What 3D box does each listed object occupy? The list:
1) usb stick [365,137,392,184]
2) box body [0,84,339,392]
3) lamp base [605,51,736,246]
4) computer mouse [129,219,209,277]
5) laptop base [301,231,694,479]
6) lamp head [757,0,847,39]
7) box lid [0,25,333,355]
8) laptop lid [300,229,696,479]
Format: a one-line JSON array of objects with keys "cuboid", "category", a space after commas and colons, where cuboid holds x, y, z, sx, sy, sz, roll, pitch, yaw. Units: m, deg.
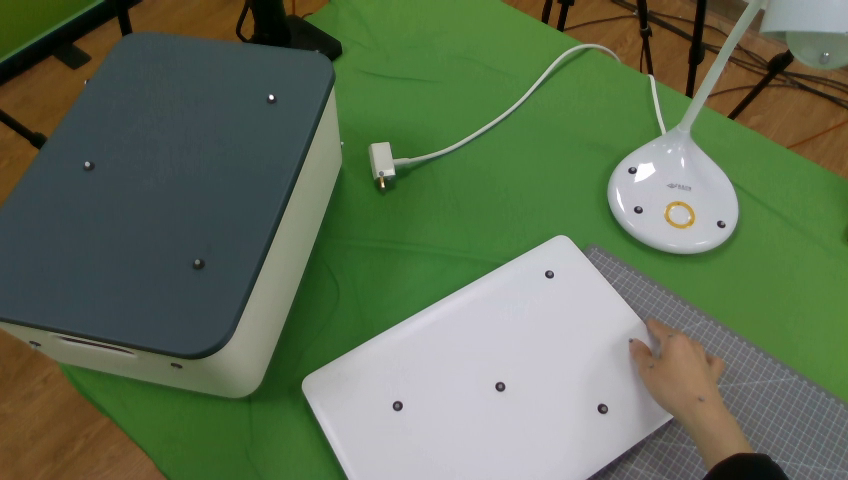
[{"cuboid": [-0.058, -0.102, 0.780, 0.027, 0.021, 0.059, -6, 89, -22], "category": "usb stick"}, {"cuboid": [-0.259, -0.037, 0.666, 0.254, 0.161, 0.361, 10, 59, 5], "category": "box body"}, {"cuboid": [0.308, -0.112, 0.704, 0.161, 0.182, 0.177, 0, 56, 0], "category": "lamp base"}, {"cuboid": [-0.294, 0.001, 0.701, 0.063, 0.041, 0.116, -17, 19, 1], "category": "computer mouse"}, {"cuboid": [0.076, 0.152, 0.639, 0.354, 0.023, 0.233, -28, 65, -16], "category": "laptop base"}, {"cuboid": [0.313, -0.208, 0.435, 0.112, 0.112, 0.123, 7, 102, 4], "category": "lamp head"}, {"cuboid": [-0.259, -0.077, 0.604, 0.263, 0.015, 0.368, 10, 60, 6], "category": "box lid"}, {"cuboid": [0.078, 0.147, 0.628, 0.357, 0.013, 0.239, -27, 64, -15], "category": "laptop lid"}]
